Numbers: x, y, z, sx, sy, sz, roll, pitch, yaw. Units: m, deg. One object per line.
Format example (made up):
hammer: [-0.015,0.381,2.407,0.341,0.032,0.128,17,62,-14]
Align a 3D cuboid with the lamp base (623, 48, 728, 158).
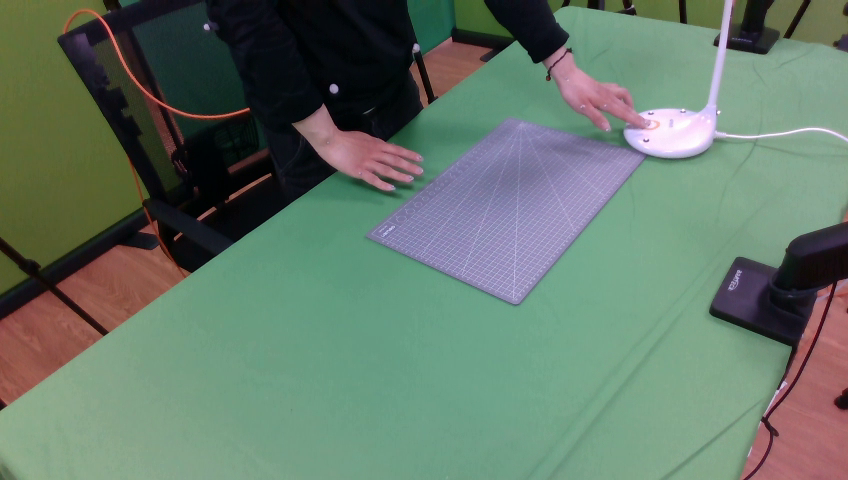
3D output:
lamp base: [0.463,-0.260,1.084,0.179,0.181,0.160,3,41,7]
